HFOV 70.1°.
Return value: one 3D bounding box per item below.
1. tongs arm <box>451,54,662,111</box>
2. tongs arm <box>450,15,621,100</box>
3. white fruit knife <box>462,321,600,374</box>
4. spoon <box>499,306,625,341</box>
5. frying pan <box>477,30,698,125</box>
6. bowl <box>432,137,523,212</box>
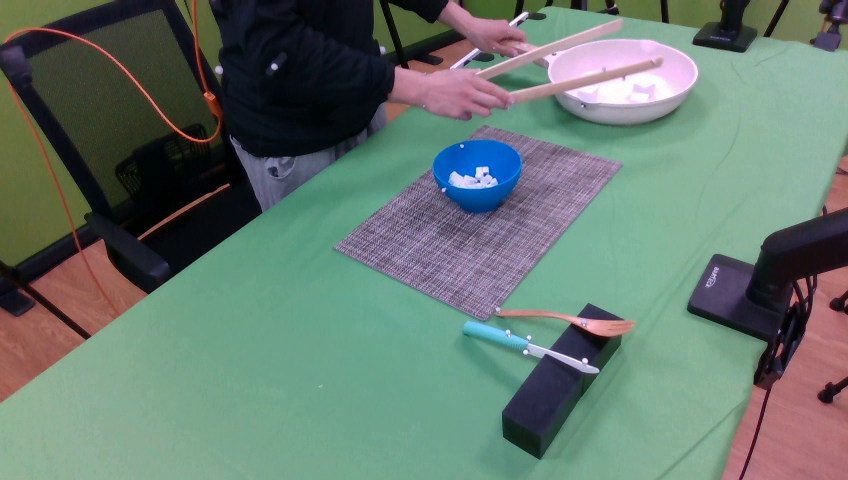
[{"bbox_3d":[0.237,-0.285,1.069,0.386,0.026,0.050,-17,58,-10],"label":"tongs arm"},{"bbox_3d":[0.209,-0.339,1.108,0.389,0.028,0.028,-26,63,-16],"label":"tongs arm"},{"bbox_3d":[0.126,0.132,0.752,0.205,0.027,0.016,12,48,42],"label":"white fruit knife"},{"bbox_3d":[0.169,0.102,0.773,0.042,0.021,0.192,-10,13,-38],"label":"spoon"},{"bbox_3d":[0.321,-0.371,1.290,0.484,0.103,0.308,29,51,24],"label":"frying pan"},{"bbox_3d":[0.091,-0.100,1.022,0.151,0.077,0.150,-4,41,4],"label":"bowl"}]
